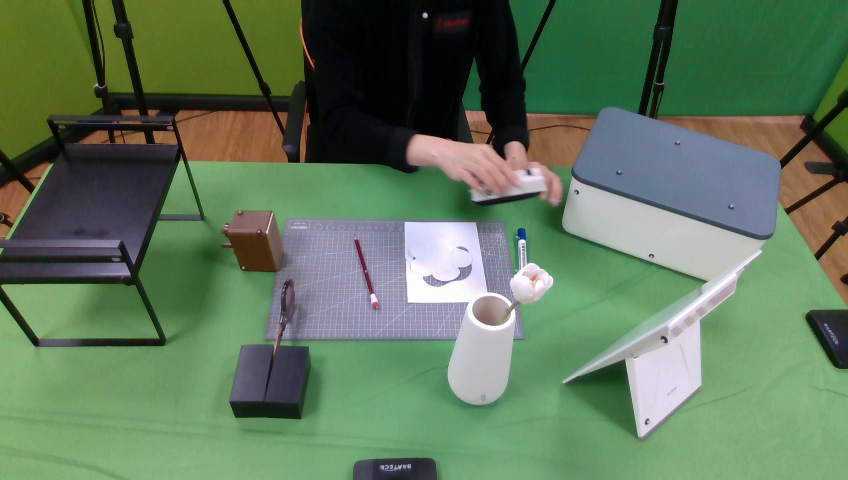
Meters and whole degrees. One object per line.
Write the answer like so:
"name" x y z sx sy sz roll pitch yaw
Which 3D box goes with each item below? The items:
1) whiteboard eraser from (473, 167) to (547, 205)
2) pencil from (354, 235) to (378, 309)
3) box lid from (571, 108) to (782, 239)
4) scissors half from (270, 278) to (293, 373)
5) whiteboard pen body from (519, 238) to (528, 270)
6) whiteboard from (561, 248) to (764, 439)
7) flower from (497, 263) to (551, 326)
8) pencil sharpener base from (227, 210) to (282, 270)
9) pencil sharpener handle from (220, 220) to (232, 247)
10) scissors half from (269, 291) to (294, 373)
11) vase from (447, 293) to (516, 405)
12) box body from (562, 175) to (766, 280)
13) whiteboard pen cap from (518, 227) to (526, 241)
"whiteboard eraser" 0.132 -0.082 0.944 0.112 0.042 0.055 -10 20 8
"pencil" -0.113 0.055 1.143 0.012 0.012 0.192 -10 46 -13
"box lid" 0.491 -0.139 1.168 0.370 0.015 0.262 20 49 15
"scissors half" -0.236 0.137 0.994 0.013 0.040 0.174 1 55 2
"whiteboard pen body" 0.193 0.035 1.181 0.017 0.017 0.140 6 49 1
"whiteboard" 0.386 0.176 0.905 0.217 0.306 0.143 -26 72 -27
"flower" 0.102 0.121 0.852 0.044 0.363 0.038 -1 64 -9
"pencil sharpener base" -0.311 0.001 1.112 0.077 0.107 0.061 1 47 1
"pencil sharpener handle" -0.362 -0.009 1.104 0.030 0.068 0.036 1 52 1
"scissors half" -0.237 0.151 1.008 0.013 0.040 0.174 5 38 -2
"vase" 0.091 0.169 0.921 0.098 0.201 0.097 3 47 -3
"box body" 0.486 -0.089 1.222 0.363 0.161 0.253 20 48 15
"whiteboard pen cap" 0.197 -0.009 1.220 0.018 0.018 0.033 5 51 1
